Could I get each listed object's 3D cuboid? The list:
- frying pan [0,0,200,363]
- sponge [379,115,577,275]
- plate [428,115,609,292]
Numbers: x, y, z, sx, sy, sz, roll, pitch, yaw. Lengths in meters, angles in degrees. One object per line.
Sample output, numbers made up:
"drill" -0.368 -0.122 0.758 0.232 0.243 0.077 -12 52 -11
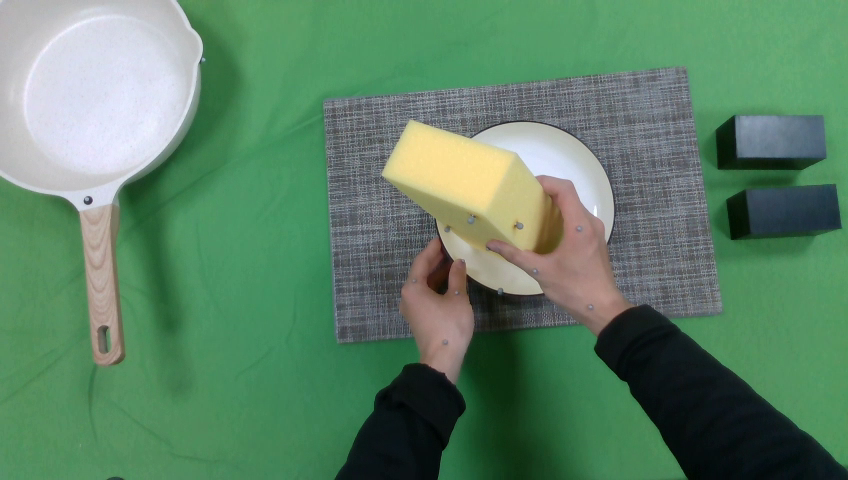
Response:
"frying pan" -0.389 -0.097 0.709 0.307 0.103 0.484 -12 74 2
"sponge" 0.063 -0.038 0.606 0.117 0.209 0.061 24 85 34
"plate" 0.108 -0.041 0.710 0.207 0.039 0.207 0 82 2
